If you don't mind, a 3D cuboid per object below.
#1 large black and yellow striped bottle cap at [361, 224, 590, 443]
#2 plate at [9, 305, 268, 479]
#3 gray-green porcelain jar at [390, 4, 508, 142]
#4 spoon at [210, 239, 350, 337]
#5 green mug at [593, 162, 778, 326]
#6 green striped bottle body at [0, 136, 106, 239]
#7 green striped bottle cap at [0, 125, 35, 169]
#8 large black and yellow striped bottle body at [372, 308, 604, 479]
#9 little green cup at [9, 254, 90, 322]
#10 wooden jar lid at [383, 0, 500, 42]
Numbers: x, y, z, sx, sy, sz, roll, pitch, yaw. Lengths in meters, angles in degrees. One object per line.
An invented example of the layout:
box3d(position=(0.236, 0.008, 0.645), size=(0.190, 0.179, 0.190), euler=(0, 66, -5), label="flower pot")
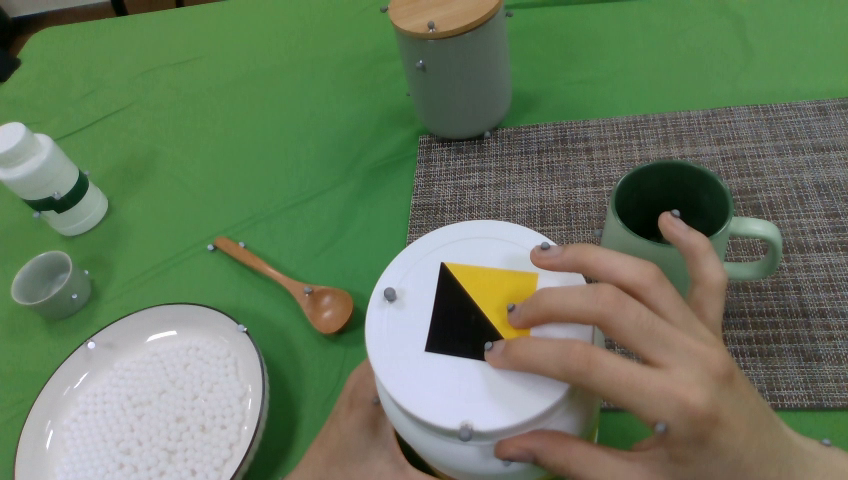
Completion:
box3d(position=(0.025, 0.043, 0.306), size=(0.115, 0.019, 0.114), euler=(-4, 58, 8), label="large black and yellow striped bottle cap")
box3d(position=(-0.222, 0.150, 0.488), size=(0.209, 0.038, 0.207), euler=(-6, 54, 8), label="plate")
box3d(position=(0.029, -0.172, 0.605), size=(0.106, 0.128, 0.105), euler=(-6, 50, 8), label="gray-green porcelain jar")
box3d(position=(-0.139, 0.035, 0.561), size=(0.192, 0.022, 0.041), euler=(27, 81, 28), label="spoon")
box3d(position=(0.192, 0.006, 0.451), size=(0.125, 0.106, 0.092), euler=(5, 56, 16), label="green mug")
box3d(position=(-0.392, -0.059, 0.625), size=(0.063, 0.120, 0.062), euler=(-6, 54, 9), label="green striped bottle body")
box3d(position=(-0.402, -0.090, 0.584), size=(0.044, 0.020, 0.044), euler=(-5, 55, 7), label="green striped bottle cap")
box3d(position=(0.042, 0.088, 0.378), size=(0.130, 0.186, 0.129), euler=(-5, 58, 9), label="large black and yellow striped bottle body")
box3d(position=(-0.363, 0.049, 0.592), size=(0.061, 0.039, 0.061), euler=(-6, 52, 9), label="little green cup")
box3d(position=(0.017, -0.212, 0.557), size=(0.108, 0.021, 0.107), euler=(-8, 52, 11), label="wooden jar lid")
